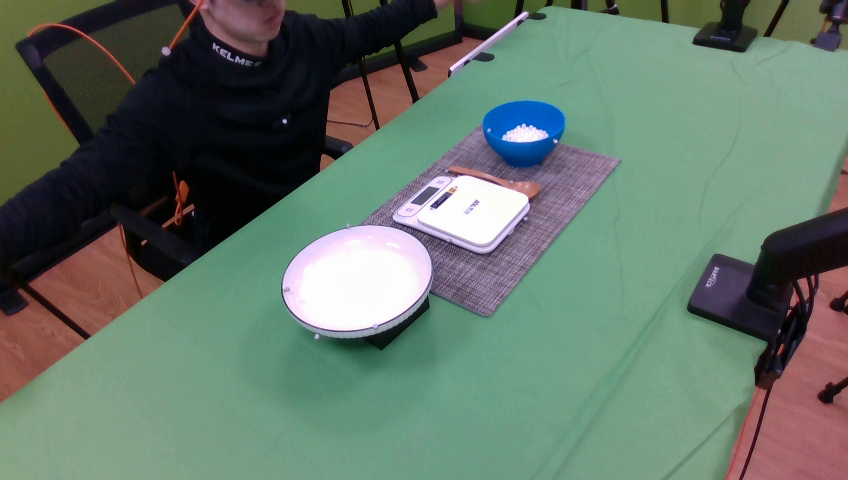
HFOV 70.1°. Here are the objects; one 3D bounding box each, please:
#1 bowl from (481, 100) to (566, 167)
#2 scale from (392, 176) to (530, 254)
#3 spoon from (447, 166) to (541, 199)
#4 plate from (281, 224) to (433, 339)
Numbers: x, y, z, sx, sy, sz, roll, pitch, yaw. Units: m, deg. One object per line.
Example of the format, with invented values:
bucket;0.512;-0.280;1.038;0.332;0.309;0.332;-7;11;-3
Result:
bowl;0.183;-0.187;1.111;0.151;0.077;0.150;-4;41;4
scale;0.060;-0.050;1.006;0.199;0.032;0.149;22;48;30
spoon;0.120;-0.107;1.071;0.192;0.022;0.041;23;64;31
plate;-0.089;0.057;0.825;0.209;0.038;0.208;-4;40;4
